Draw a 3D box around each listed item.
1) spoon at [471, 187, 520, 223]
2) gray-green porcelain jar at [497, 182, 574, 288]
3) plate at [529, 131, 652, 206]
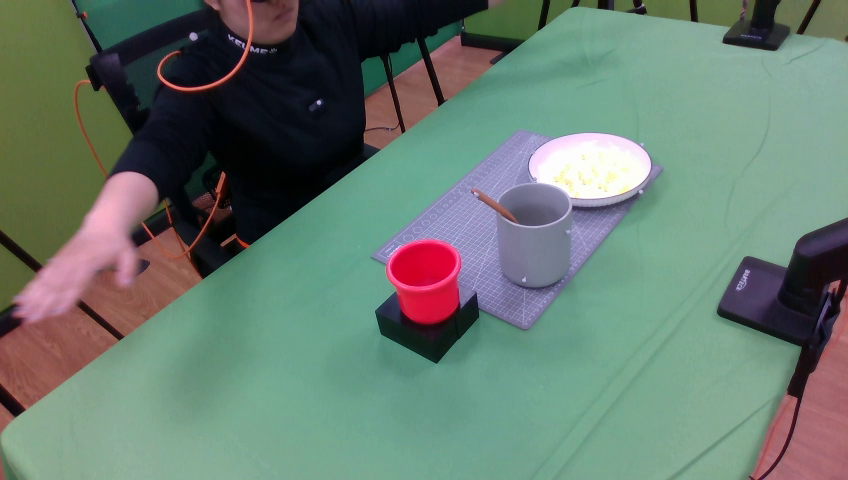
[{"bbox_3d":[0.122,-0.026,0.837,0.021,0.195,0.041,-32,47,19],"label":"spoon"},{"bbox_3d":[0.160,-0.003,0.869,0.106,0.127,0.105,-5,40,5],"label":"gray-green porcelain jar"},{"bbox_3d":[0.287,-0.122,1.055,0.207,0.039,0.206,-5,40,5],"label":"plate"}]
